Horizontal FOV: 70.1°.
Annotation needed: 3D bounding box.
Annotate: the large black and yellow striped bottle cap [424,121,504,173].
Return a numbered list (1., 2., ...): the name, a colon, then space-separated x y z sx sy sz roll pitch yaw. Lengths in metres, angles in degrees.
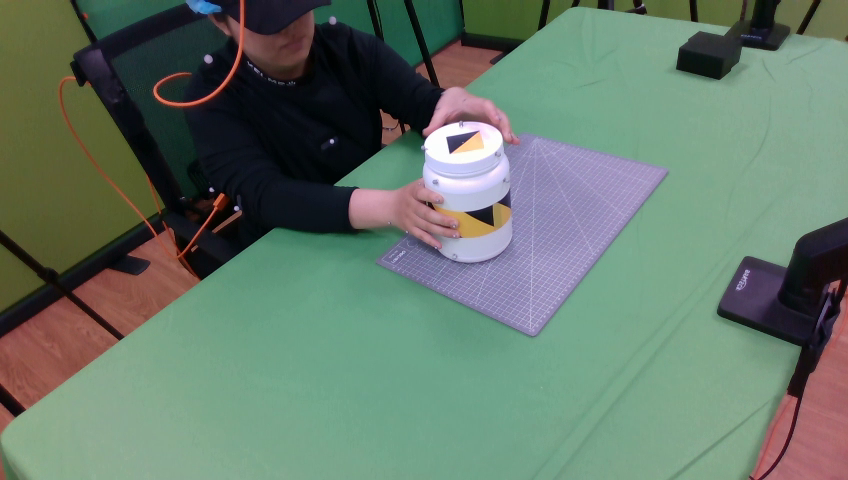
1. large black and yellow striped bottle cap: 0.057 -0.136 0.871 0.115 0.019 0.114 -4 41 4

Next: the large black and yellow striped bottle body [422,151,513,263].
1. large black and yellow striped bottle body: 0.068 -0.071 0.924 0.131 0.185 0.130 -5 40 5
